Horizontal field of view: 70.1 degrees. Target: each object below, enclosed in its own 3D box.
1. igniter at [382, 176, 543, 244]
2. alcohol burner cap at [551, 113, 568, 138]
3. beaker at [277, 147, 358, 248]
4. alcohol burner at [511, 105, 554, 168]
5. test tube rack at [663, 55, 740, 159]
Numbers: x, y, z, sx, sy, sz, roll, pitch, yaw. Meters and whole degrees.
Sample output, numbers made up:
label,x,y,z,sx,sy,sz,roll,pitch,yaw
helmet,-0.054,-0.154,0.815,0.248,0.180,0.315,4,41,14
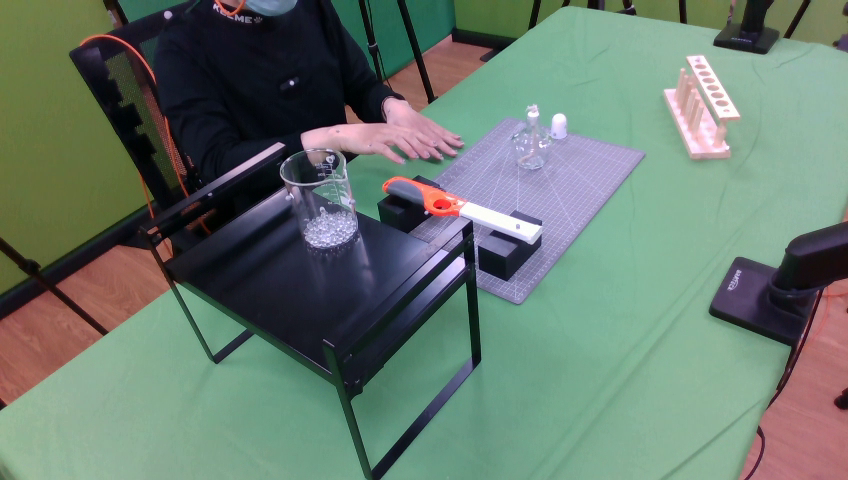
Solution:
label,x,y,z,sx,sy,sz,roll,pitch,yaw
igniter,0.052,-0.052,0.941,0.274,0.025,0.057,22,47,27
alcohol burner cap,0.263,-0.223,1.172,0.034,0.048,0.033,-5,39,4
beaker,-0.117,-0.046,0.705,0.083,0.101,0.074,17,47,25
alcohol burner,0.196,-0.190,1.088,0.078,0.119,0.077,-3,42,3
test tube rack,0.518,-0.256,1.144,0.066,0.085,0.241,-1,41,8
